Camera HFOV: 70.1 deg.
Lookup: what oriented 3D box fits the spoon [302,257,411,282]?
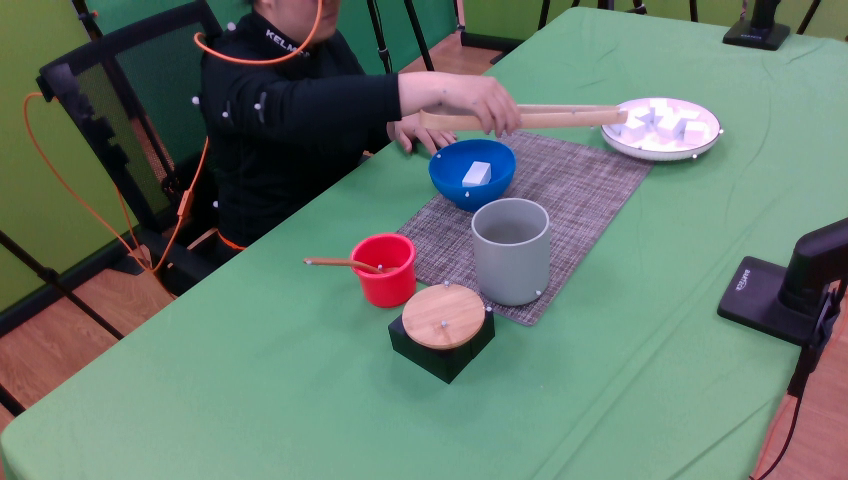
[{"bbox_3d":[-0.092,0.038,0.865,0.195,0.021,0.041,16,15,-46],"label":"spoon"}]

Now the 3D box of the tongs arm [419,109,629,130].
[{"bbox_3d":[0.180,-0.211,1.035,0.387,0.026,0.050,-7,34,-21],"label":"tongs arm"}]

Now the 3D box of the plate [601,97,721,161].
[{"bbox_3d":[0.437,-0.202,1.126,0.209,0.038,0.208,-5,39,5],"label":"plate"}]

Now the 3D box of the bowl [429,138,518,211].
[{"bbox_3d":[0.087,-0.104,1.043,0.151,0.077,0.150,-5,40,5],"label":"bowl"}]

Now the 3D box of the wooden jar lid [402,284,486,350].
[{"bbox_3d":[0.026,0.101,0.786,0.108,0.021,0.108,-5,39,4],"label":"wooden jar lid"}]

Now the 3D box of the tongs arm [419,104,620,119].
[{"bbox_3d":[0.174,-0.222,1.052,0.390,0.028,0.028,-4,37,-17],"label":"tongs arm"}]

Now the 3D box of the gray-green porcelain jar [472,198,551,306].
[{"bbox_3d":[0.125,0.021,0.850,0.106,0.127,0.105,-6,40,5],"label":"gray-green porcelain jar"}]
